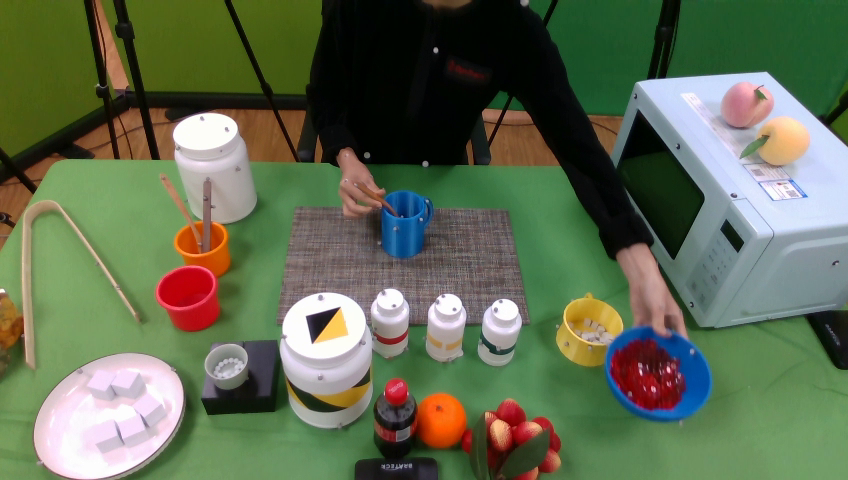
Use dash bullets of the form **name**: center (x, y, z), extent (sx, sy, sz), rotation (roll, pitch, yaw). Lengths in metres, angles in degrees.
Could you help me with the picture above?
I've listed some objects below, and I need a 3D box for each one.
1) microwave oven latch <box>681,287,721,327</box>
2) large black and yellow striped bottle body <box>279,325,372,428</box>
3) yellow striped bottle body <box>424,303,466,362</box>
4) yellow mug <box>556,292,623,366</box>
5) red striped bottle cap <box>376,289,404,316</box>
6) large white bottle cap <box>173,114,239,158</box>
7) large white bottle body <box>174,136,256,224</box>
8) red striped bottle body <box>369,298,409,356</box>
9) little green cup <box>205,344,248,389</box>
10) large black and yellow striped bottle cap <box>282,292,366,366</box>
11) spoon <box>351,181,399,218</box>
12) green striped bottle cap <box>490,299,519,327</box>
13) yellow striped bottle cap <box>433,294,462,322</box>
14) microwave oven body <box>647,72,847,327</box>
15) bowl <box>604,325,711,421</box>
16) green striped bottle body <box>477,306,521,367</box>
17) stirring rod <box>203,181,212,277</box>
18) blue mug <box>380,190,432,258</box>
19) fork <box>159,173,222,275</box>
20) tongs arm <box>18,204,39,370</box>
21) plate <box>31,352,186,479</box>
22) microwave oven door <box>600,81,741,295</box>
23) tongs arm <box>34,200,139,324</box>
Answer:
- **microwave oven latch**: center (0.494, 0.119, 1.087), extent (0.030, 0.029, 0.078), rotation (-6, 46, -9)
- **large black and yellow striped bottle body**: center (-0.143, 0.181, 0.900), extent (0.131, 0.185, 0.130), rotation (2, 46, -2)
- **yellow striped bottle body**: center (0.035, 0.143, 0.995), extent (0.063, 0.121, 0.062), rotation (3, 46, -3)
- **yellow mug**: center (0.285, 0.146, 1.052), extent (0.100, 0.064, 0.130), rotation (7, 45, 3)
- **red striped bottle cap**: center (-0.054, 0.098, 0.958), extent (0.044, 0.018, 0.044), rotation (0, 48, 0)
- **large white bottle cap**: center (-0.403, -0.195, 1.122), extent (0.115, 0.018, 0.114), rotation (2, 47, -2)
- **large white bottle body**: center (-0.408, -0.137, 1.183), extent (0.131, 0.185, 0.130), rotation (2, 46, -2)
- **red striped bottle body**: center (-0.058, 0.134, 0.997), extent (0.063, 0.120, 0.062), rotation (4, 47, -4)
- **little green cup**: center (-0.294, 0.191, 0.909), extent (0.061, 0.039, 0.061), rotation (1, 47, -1)
- **large black and yellow striped bottle cap**: center (-0.138, 0.121, 0.841), extent (0.115, 0.019, 0.114), rotation (3, 47, -3)
- **spoon**: center (-0.070, -0.058, 1.126), extent (0.021, 0.195, 0.041), rotation (-32, 45, 14)
- **green striped bottle cap**: center (0.128, 0.115, 0.958), extent (0.044, 0.020, 0.044), rotation (2, 47, -2)
- **yellow striped bottle cap**: center (0.037, 0.107, 0.958), extent (0.044, 0.019, 0.044), rotation (2, 45, -2)
- **microwave oven body**: center (0.607, -0.089, 1.163), extent (0.326, 0.261, 0.438), rotation (-7, 46, -10)
- **bowl**: center (0.341, 0.212, 0.911), extent (0.151, 0.077, 0.150), rotation (-1, 48, 1)
- **green striped bottle body**: center (0.124, 0.151, 0.995), extent (0.063, 0.120, 0.063), rotation (2, 46, -2)
- **stirring rod**: center (-0.396, -0.021, 1.108), extent (0.014, 0.006, 0.176), rotation (-1, 89, -1)
- **blue mug**: center (-0.030, -0.037, 1.169), extent (0.116, 0.106, 0.082), rotation (-28, 54, -28)
- **fork**: center (-0.427, -0.029, 1.103), extent (0.028, 0.018, 0.207), rotation (-31, 99, -29)
- **tongs arm**: center (-0.698, 0.068, 1.069), extent (0.028, 0.028, 0.385), rotation (-20, 50, -13)
- **plate**: center (-0.459, 0.262, 0.898), extent (0.209, 0.038, 0.208), rotation (2, 46, -2)
- **microwave oven door**: center (0.453, -0.107, 1.161), extent (0.039, 0.245, 0.353), rotation (-5, 47, -12)
- **tongs arm**: center (-0.622, 0.034, 1.105), extent (0.051, 0.026, 0.382), rotation (-31, 55, -26)
